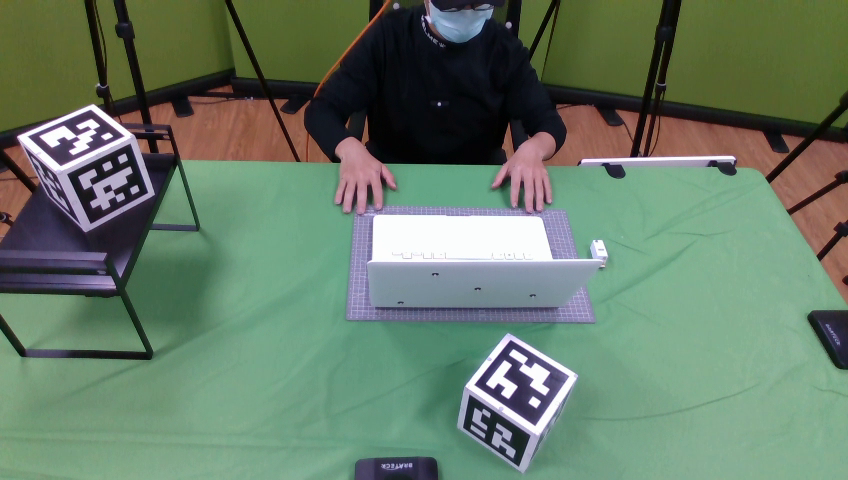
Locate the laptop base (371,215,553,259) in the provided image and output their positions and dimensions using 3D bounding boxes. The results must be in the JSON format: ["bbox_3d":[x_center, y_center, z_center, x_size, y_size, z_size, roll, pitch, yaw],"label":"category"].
[{"bbox_3d":[0.075,0.037,1.167,0.355,0.023,0.234,0,43,-4],"label":"laptop base"}]

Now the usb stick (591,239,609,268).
[{"bbox_3d":[0.347,0.028,1.188,0.021,0.027,0.059,4,48,-6],"label":"usb stick"}]

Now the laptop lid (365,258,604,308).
[{"bbox_3d":[0.085,0.074,0.978,0.357,0.242,0.013,1,67,-5],"label":"laptop lid"}]
